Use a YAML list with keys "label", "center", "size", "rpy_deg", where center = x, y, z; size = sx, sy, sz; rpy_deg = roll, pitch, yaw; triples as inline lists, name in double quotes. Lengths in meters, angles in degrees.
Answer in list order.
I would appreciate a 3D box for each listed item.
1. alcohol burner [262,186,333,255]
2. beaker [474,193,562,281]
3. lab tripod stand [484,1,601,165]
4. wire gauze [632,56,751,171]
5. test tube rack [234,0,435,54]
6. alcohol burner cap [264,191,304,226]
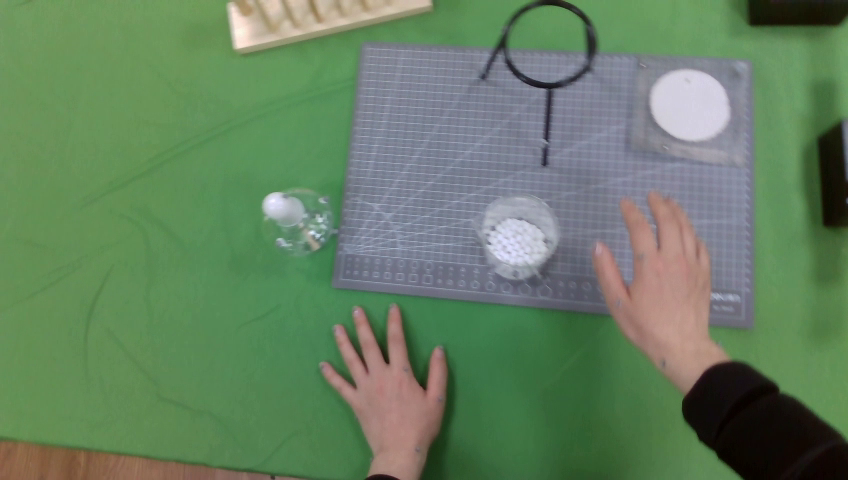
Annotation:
- label: "alcohol burner"
  center: [-0.139, -0.025, 0.641]
  size: [0.078, 0.120, 0.077]
  rpy_deg: [-1, 76, 4]
- label: "beaker"
  center: [0.093, 0.001, 0.619]
  size: [0.084, 0.101, 0.073]
  rpy_deg: [11, 79, 8]
- label: "lab tripod stand"
  center: [0.129, -0.168, 0.632]
  size: [0.148, 0.132, 0.148]
  rpy_deg: [-1, 80, 4]
- label: "wire gauze"
  center: [0.299, -0.145, 0.676]
  size: [0.125, 0.011, 0.121]
  rpy_deg: [10, 79, 4]
- label: "test tube rack"
  center: [-0.114, -0.292, 0.706]
  size: [0.242, 0.085, 0.066]
  rpy_deg: [-11, 78, 3]
- label: "alcohol burner cap"
  center: [-0.143, -0.033, 0.606]
  size: [0.034, 0.048, 0.033]
  rpy_deg: [-1, 82, 5]
